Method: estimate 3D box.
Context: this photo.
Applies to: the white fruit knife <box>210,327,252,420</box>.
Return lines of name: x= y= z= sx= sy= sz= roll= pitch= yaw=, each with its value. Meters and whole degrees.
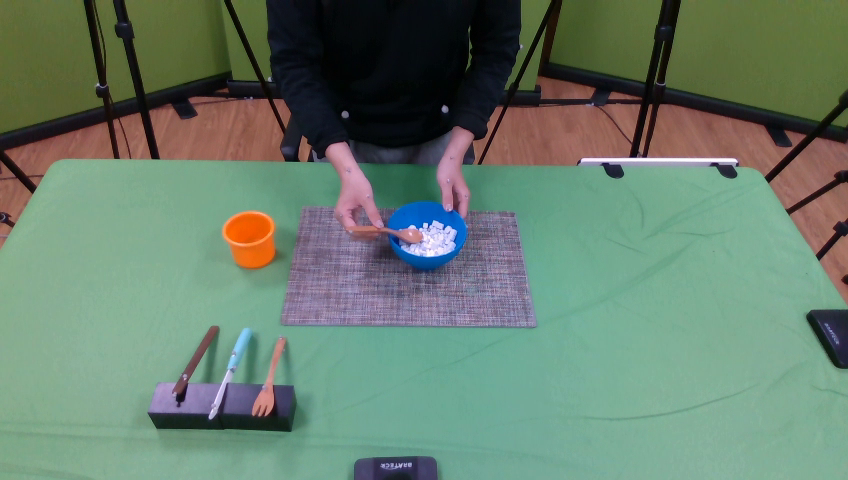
white fruit knife: x=-0.298 y=0.200 z=0.937 sx=0.016 sy=0.027 sz=0.206 roll=0 pitch=30 yaw=0

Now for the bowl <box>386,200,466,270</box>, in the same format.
bowl: x=0.001 y=0.003 z=1.150 sx=0.151 sy=0.077 sz=0.150 roll=2 pitch=46 yaw=-2

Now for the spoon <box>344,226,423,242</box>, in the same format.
spoon: x=-0.071 y=-0.016 z=1.088 sx=0.194 sy=0.021 sz=0.041 roll=8 pitch=32 yaw=-51

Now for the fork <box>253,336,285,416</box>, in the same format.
fork: x=-0.235 y=0.206 z=0.938 sx=0.028 sy=0.019 sz=0.206 roll=-3 pitch=26 yaw=-3

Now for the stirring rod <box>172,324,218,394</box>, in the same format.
stirring rod: x=-0.361 y=0.185 z=0.962 sx=0.014 sy=0.006 sz=0.175 roll=2 pitch=26 yaw=0
